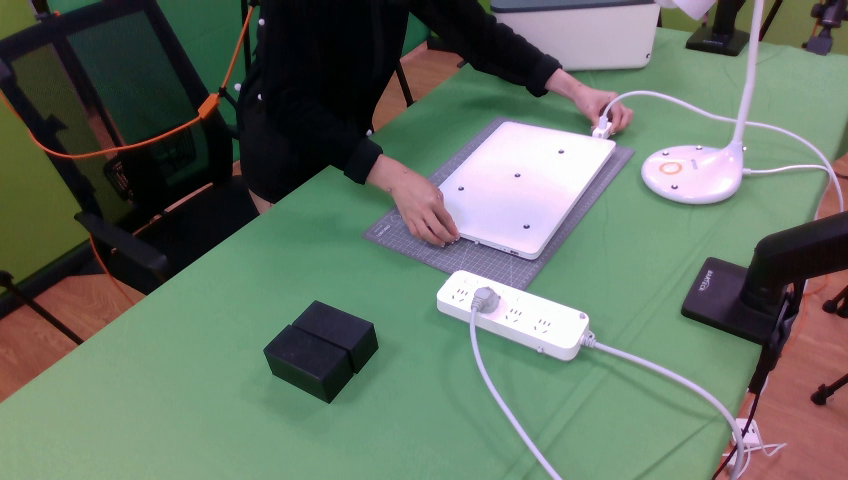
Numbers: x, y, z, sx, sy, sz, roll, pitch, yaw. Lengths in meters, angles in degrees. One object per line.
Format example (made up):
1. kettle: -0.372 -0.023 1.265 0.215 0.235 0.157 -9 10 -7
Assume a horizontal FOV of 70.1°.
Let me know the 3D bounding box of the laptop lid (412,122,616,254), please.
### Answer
1. laptop lid: 0.165 -0.110 1.066 0.240 0.013 0.357 19 46 31

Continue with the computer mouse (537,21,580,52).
1. computer mouse: 0.335 -0.503 1.487 0.118 0.041 0.062 21 20 -28

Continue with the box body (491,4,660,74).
1. box body: 0.346 -0.520 1.429 0.363 0.161 0.253 0 41 9

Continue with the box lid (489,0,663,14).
1. box lid: 0.340 -0.575 1.380 0.371 0.015 0.262 0 41 9

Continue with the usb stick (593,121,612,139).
1. usb stick: 0.335 -0.200 1.147 0.021 0.027 0.059 22 50 30

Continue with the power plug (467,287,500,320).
1. power plug: 0.073 0.092 0.814 0.035 0.053 0.073 29 54 34

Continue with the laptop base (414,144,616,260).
1. laptop base: 0.168 -0.100 1.073 0.234 0.023 0.355 17 46 30

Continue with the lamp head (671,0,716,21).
1. lamp head: 0.375 -0.373 0.807 0.122 0.113 0.112 -40 27 32

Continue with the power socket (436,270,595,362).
1. power socket: 0.118 0.101 0.832 0.225 0.033 0.072 19 48 27

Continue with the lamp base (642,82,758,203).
1. lamp base: 0.464 -0.174 0.992 0.179 0.181 0.159 -5 41 -2
